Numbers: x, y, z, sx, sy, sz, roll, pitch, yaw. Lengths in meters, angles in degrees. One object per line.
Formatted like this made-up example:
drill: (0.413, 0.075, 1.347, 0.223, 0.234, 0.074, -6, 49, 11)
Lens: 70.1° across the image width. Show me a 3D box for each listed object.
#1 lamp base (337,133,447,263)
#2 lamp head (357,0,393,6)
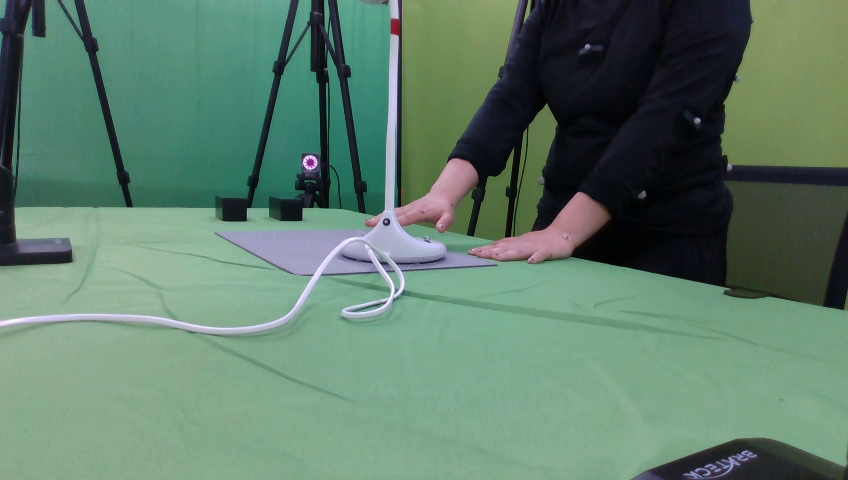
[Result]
lamp base: (-0.043, -0.062, 0.868, 0.161, 0.180, 0.179, 2, 10, -3)
lamp head: (-0.056, -0.383, 0.819, 0.113, 0.112, 0.122, 0, 13, -22)
